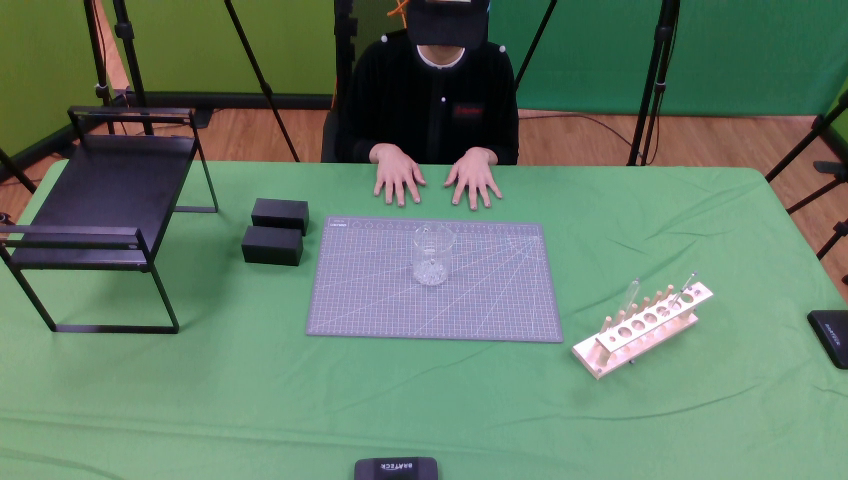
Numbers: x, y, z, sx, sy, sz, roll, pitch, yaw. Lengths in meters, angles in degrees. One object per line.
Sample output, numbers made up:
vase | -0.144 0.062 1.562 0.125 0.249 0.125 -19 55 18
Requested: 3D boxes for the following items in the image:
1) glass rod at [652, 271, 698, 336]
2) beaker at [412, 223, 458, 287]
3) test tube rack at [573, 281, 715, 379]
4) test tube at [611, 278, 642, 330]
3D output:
glass rod | 0.403 0.108 0.979 0.008 0.201 0.008 1 53 -1
beaker | 0.018 0.030 1.109 0.084 0.101 0.073 -10 48 -14
test tube rack | 0.378 0.140 1.038 0.242 0.085 0.066 -22 51 -23
test tube | 0.332 0.113 0.999 0.017 0.151 0.017 1 48 -1
